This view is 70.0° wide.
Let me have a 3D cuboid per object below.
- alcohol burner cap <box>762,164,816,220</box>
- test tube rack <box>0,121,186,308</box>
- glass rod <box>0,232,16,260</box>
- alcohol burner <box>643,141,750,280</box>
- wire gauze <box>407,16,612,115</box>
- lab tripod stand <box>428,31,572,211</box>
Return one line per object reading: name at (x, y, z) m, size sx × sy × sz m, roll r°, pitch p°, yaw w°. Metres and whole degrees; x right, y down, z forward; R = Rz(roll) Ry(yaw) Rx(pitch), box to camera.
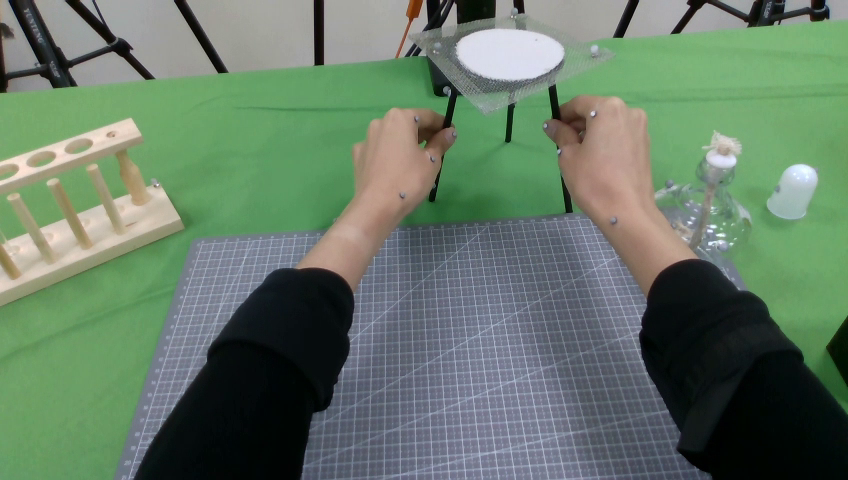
alcohol burner cap at (0.318, -0.044, 0.523) m, size 0.034 × 0.048 × 0.033 m, roll -1°, pitch 43°, yaw 2°
test tube rack at (-0.336, -0.007, 0.496) m, size 0.242 × 0.086 × 0.066 m, roll -26°, pitch 49°, yaw -22°
glass rod at (-0.349, -0.054, 0.450) m, size 0.008 × 0.201 × 0.008 m, roll 2°, pitch 44°, yaw -2°
alcohol burner at (0.209, -0.026, 0.456) m, size 0.078 × 0.120 × 0.077 m, roll -1°, pitch 46°, yaw 2°
wire gauze at (0.065, -0.149, 0.485) m, size 0.121 × 0.011 × 0.123 m, roll -22°, pitch 47°, yaw -19°
lab tripod stand at (0.073, -0.102, 0.533) m, size 0.148 × 0.133 × 0.147 m, roll -1°, pitch 43°, yaw 1°
